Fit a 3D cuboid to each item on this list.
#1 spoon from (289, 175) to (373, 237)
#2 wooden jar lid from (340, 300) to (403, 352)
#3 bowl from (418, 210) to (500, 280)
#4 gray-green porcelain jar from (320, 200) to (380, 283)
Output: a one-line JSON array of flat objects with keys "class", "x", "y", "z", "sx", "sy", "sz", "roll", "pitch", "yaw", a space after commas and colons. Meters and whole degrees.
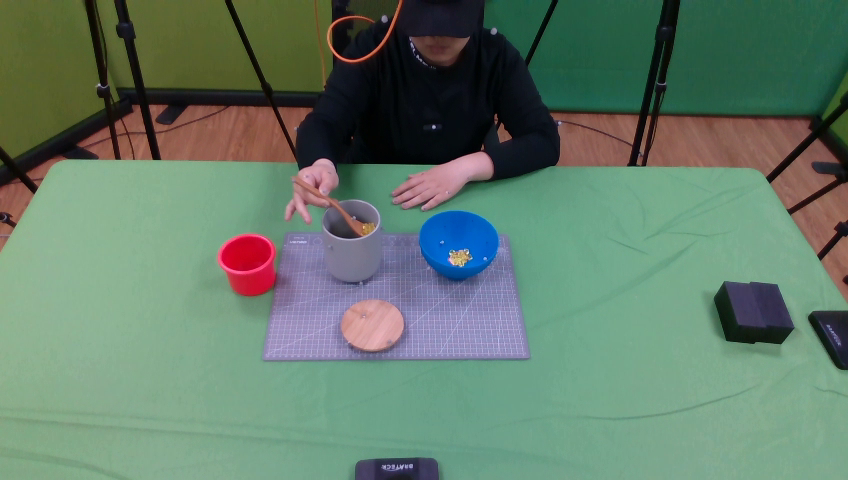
[{"class": "spoon", "x": -0.155, "y": -0.056, "z": 1.046, "sx": 0.021, "sy": 0.195, "sz": 0.041, "roll": -34, "pitch": 37, "yaw": 20}, {"class": "wooden jar lid", "x": -0.090, "y": 0.150, "z": 1.046, "sx": 0.108, "sy": 0.021, "sz": 0.107, "roll": 3, "pitch": 47, "yaw": -3}, {"class": "bowl", "x": 0.062, "y": 0.022, "z": 1.140, "sx": 0.151, "sy": 0.077, "sz": 0.150, "roll": 2, "pitch": 46, "yaw": -2}, {"class": "gray-green porcelain jar", "x": -0.132, "y": 0.007, "z": 1.106, "sx": 0.106, "sy": 0.127, "sz": 0.105, "roll": 2, "pitch": 46, "yaw": -2}]
